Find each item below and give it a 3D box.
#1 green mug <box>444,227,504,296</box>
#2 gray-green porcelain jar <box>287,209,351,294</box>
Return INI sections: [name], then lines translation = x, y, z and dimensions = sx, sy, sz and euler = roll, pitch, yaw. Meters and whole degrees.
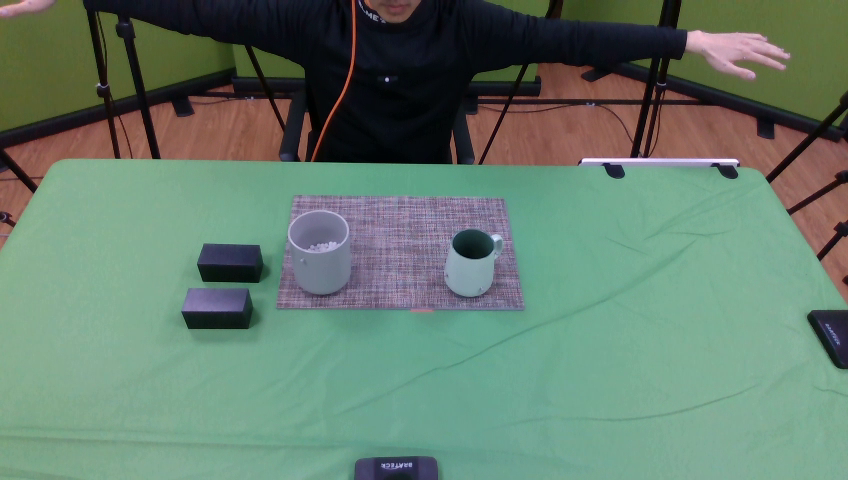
[green mug]
translation = 0.097, 0.033, 1.109
dimensions = 0.125, 0.105, 0.092
euler = -31, 55, -29
[gray-green porcelain jar]
translation = -0.184, 0.026, 1.080
dimensions = 0.106, 0.127, 0.105
euler = 2, 47, -2
